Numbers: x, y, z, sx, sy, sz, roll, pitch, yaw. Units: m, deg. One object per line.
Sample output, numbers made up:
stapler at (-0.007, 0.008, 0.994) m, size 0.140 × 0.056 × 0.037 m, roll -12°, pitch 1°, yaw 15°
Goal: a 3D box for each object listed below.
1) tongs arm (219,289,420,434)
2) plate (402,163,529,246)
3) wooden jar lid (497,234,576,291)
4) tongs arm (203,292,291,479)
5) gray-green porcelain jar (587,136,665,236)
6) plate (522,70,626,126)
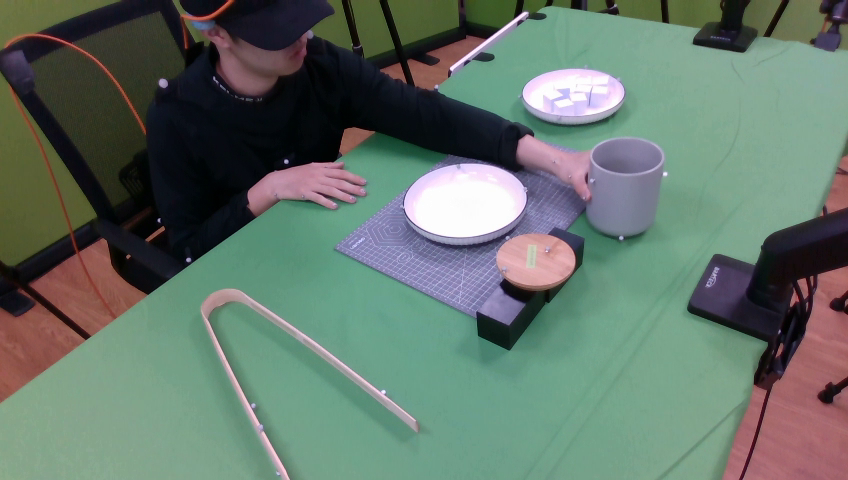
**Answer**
tongs arm at (-0.152, 0.152, 0.812) m, size 0.384 × 0.028 × 0.028 m, roll 26°, pitch 52°, yaw 33°
plate at (0.070, -0.056, 1.008) m, size 0.209 × 0.038 × 0.208 m, roll -4°, pitch 40°, yaw 4°
wooden jar lid at (0.155, 0.032, 0.834) m, size 0.108 × 0.021 × 0.108 m, roll -5°, pitch 40°, yaw 5°
tongs arm at (-0.216, 0.187, 0.772) m, size 0.051 × 0.026 × 0.381 m, roll -27°, pitch 43°, yaw -24°
gray-green porcelain jar at (0.305, -0.078, 0.926) m, size 0.106 × 0.127 × 0.105 m, roll -5°, pitch 39°, yaw 5°
plate at (0.308, -0.289, 1.250) m, size 0.207 × 0.039 × 0.206 m, roll -4°, pitch 40°, yaw 4°
